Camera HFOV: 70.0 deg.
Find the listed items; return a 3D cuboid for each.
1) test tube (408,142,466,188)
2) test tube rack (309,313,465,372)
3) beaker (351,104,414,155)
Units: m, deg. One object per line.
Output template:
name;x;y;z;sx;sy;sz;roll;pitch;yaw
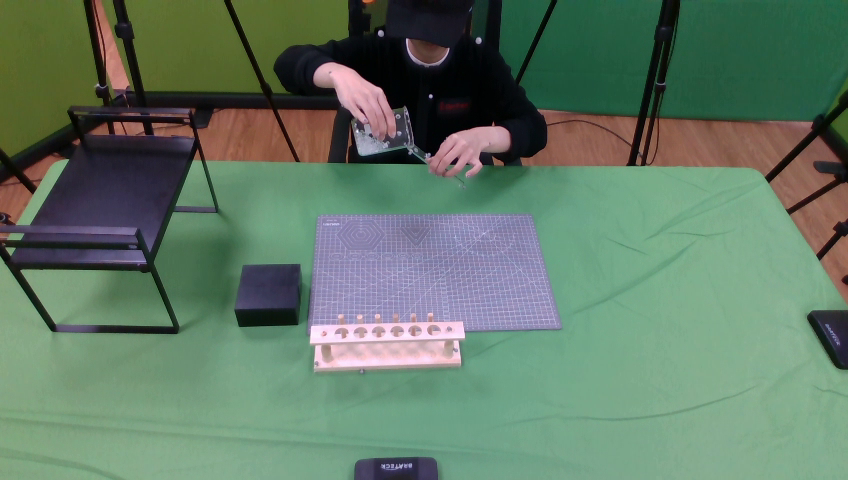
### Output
test tube;0.027;-0.139;1.139;0.151;0.017;0.017;33;33;-35
test tube rack;-0.059;0.161;0.990;0.242;0.085;0.066;-1;46;-5
beaker;-0.074;-0.190;1.068;0.100;0.084;0.073;-11;42;-4
